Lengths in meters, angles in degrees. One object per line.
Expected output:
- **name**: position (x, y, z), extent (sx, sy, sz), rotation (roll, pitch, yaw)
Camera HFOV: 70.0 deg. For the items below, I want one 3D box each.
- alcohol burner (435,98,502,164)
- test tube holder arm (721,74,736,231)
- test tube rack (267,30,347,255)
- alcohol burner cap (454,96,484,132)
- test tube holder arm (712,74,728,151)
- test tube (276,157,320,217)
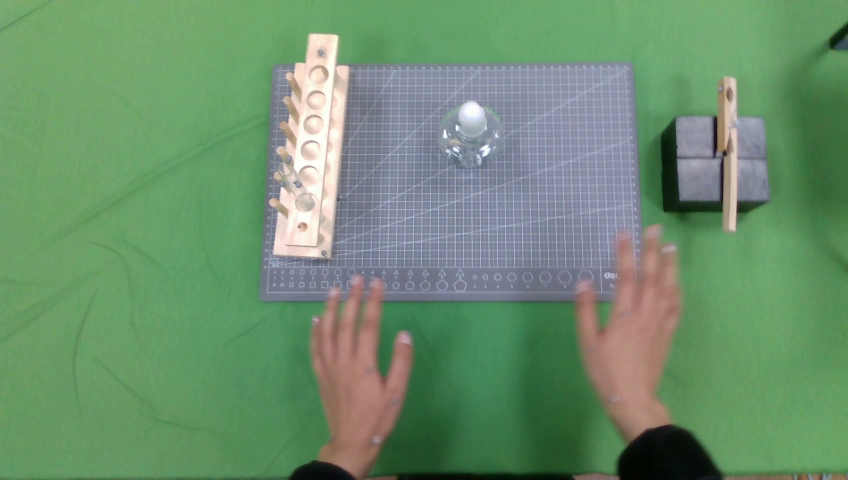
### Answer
- **alcohol burner**: position (0.051, -0.129, 0.683), extent (0.078, 0.119, 0.077), rotation (0, 81, 2)
- **test tube holder arm**: position (0.337, -0.099, 0.675), extent (0.013, 0.015, 0.177), rotation (3, 80, -4)
- **test tube rack**: position (-0.138, -0.110, 0.697), extent (0.067, 0.085, 0.241), rotation (4, 80, 2)
- **alcohol burner cap**: position (0.048, -0.137, 0.648), extent (0.034, 0.048, 0.034), rotation (0, 84, 4)
- **test tube holder arm**: position (0.334, -0.143, 0.682), extent (0.010, 0.015, 0.087), rotation (3, 80, -4)
- **test tube**: position (-0.130, -0.051, 0.636), extent (0.017, 0.151, 0.017), rotation (0, 74, 1)
